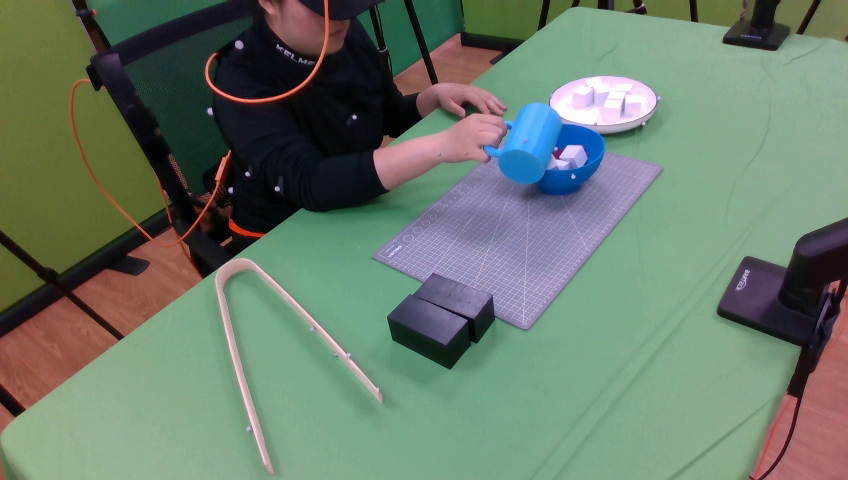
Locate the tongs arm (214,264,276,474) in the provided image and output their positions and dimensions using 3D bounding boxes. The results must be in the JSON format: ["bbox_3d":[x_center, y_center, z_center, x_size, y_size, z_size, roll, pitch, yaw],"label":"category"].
[{"bbox_3d":[-0.252,0.158,0.838,0.028,0.028,0.384,-27,43,-8],"label":"tongs arm"}]

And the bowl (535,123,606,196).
[{"bbox_3d":[0.235,-0.131,1.045,0.151,0.077,0.150,-5,40,5],"label":"bowl"}]

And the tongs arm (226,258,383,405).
[{"bbox_3d":[-0.185,0.121,0.863,0.051,0.027,0.381,-34,45,-20],"label":"tongs arm"}]

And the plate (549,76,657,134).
[{"bbox_3d":[0.357,-0.268,1.220,0.209,0.038,0.208,-5,41,5],"label":"plate"}]

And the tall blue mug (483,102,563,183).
[{"bbox_3d":[0.157,-0.162,0.964,0.107,0.077,0.108,27,60,-3],"label":"tall blue mug"}]
